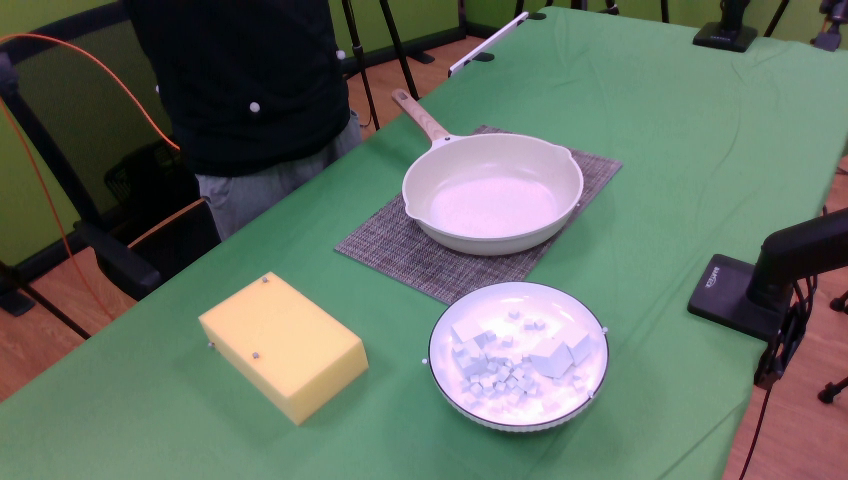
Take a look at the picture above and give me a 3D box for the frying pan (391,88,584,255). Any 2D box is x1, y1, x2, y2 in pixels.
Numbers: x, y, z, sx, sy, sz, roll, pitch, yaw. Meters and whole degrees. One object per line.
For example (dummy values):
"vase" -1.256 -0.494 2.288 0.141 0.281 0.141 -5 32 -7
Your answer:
"frying pan" 0.063 -0.143 1.056 0.308 0.103 0.483 -22 51 -18

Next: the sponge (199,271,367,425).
"sponge" -0.189 0.136 0.807 0.205 0.061 0.118 29 52 35

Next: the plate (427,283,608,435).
"plate" 0.108 0.137 0.708 0.207 0.039 0.206 -4 42 4
